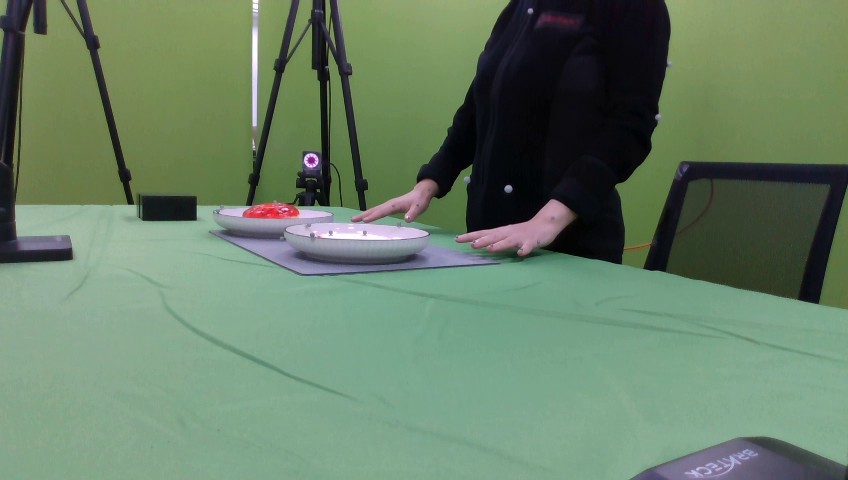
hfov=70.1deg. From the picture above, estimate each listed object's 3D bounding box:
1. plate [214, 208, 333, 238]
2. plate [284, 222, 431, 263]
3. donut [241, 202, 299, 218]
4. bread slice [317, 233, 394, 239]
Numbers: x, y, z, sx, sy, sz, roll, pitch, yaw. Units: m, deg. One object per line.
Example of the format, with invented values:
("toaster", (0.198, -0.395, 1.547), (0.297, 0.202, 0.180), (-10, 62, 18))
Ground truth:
("plate", (-0.268, -0.032, 1.085), (0.208, 0.039, 0.207), (2, 7, 0))
("plate", (-0.094, 0.003, 0.868), (0.209, 0.038, 0.209), (2, 7, 0))
("donut", (-0.270, -0.040, 1.057), (0.099, 0.048, 0.099), (0, 11, 0))
("bread slice", (-0.096, 0.004, 0.863), (0.107, 0.018, 0.133), (-1, 7, -31))
